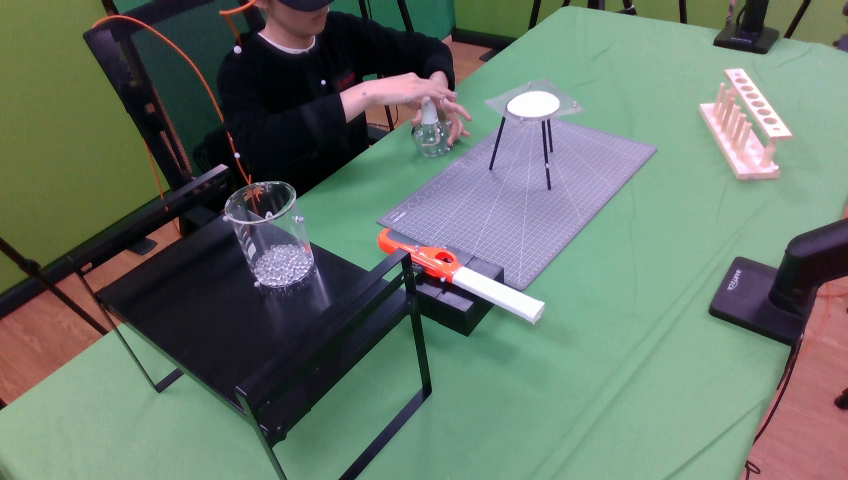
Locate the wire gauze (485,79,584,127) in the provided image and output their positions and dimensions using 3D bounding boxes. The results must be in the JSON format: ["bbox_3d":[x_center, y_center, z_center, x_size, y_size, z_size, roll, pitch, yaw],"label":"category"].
[{"bbox_3d":[0.185,-0.232,1.023,0.125,0.011,0.120,-20,42,-12],"label":"wire gauze"}]

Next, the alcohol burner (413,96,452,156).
[{"bbox_3d":[0.015,-0.222,1.162,0.078,0.119,0.077,-4,39,3],"label":"alcohol burner"}]

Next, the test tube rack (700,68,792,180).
[{"bbox_3d":[0.572,-0.215,1.089,0.066,0.085,0.241,-3,41,7],"label":"test tube rack"}]

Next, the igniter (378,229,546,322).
[{"bbox_3d":[0.041,0.043,0.843,0.274,0.025,0.057,24,47,29],"label":"igniter"}]

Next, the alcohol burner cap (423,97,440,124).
[{"bbox_3d":[0.013,-0.246,1.141,0.034,0.048,0.033,-2,40,2],"label":"alcohol burner cap"}]

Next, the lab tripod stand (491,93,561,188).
[{"bbox_3d":[0.189,-0.180,1.066,0.148,0.132,0.147,-5,42,5],"label":"lab tripod stand"}]

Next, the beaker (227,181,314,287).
[{"bbox_3d":[-0.166,-0.006,0.670,0.074,0.101,0.083,-8,40,0],"label":"beaker"}]
